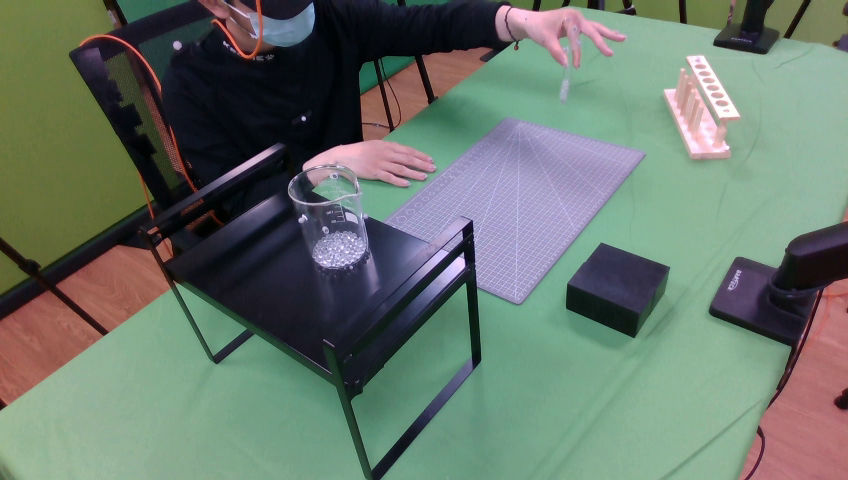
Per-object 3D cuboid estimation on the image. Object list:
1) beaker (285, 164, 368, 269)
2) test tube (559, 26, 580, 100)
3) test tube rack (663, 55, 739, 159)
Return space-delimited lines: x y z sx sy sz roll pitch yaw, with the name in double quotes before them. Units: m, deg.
"beaker" -0.102 -0.024 0.676 0.083 0.101 0.074 8 44 17
"test tube" 0.249 -0.301 1.041 0.017 0.151 0.017 -2 54 3
"test tube rack" 0.518 -0.256 1.144 0.066 0.085 0.241 -1 41 8
